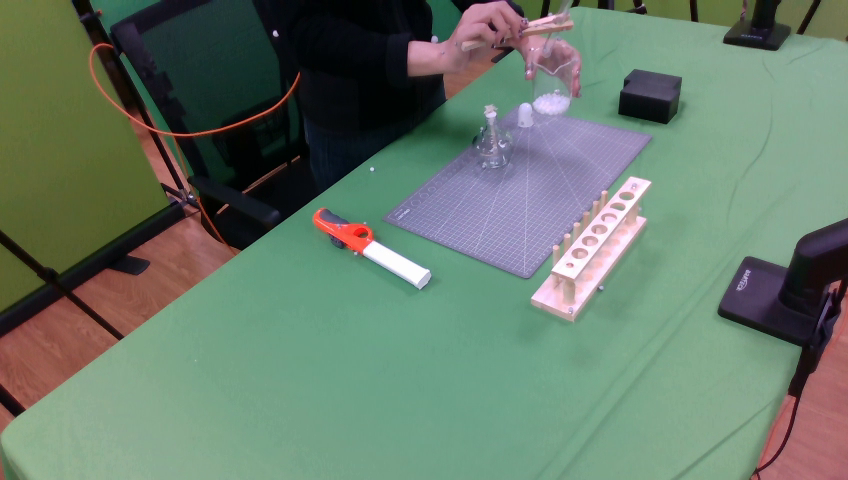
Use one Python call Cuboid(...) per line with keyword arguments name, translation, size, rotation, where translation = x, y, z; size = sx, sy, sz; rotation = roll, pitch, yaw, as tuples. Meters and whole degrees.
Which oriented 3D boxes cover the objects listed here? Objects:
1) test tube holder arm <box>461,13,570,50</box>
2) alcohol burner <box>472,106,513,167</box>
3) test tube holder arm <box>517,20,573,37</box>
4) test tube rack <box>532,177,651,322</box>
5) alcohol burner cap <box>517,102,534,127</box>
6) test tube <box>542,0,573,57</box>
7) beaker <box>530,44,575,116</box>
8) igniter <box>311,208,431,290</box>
Cuboid(name="test tube holder arm", translation=(0.136, -0.310, 0.896), size=(0.179, 0.015, 0.013), rotation=(-18, 74, -14))
Cuboid(name="alcohol burner", translation=(0.125, -0.194, 1.111), size=(0.078, 0.119, 0.077), rotation=(-5, 42, 5))
Cuboid(name="test tube holder arm", translation=(0.181, -0.316, 0.905), size=(0.088, 0.015, 0.010), rotation=(-10, 72, -12))
Cuboid(name="test tube rack", translation=(0.248, 0.002, 0.883), size=(0.066, 0.085, 0.243), rotation=(22, 49, 32))
Cuboid(name="alcohol burner cap", translation=(0.205, -0.255, 1.223), size=(0.034, 0.048, 0.033), rotation=(-6, 41, 6))
Cuboid(name="test tube", translation=(0.201, -0.325, 0.913), size=(0.017, 0.150, 0.017), rotation=(1, 72, -2))
Cuboid(name="beaker", translation=(0.217, -0.267, 1.025), size=(0.074, 0.101, 0.083), rotation=(0, 46, 10))
Cuboid(name="igniter", translation=(-0.096, 0.008, 0.985), size=(0.274, 0.025, 0.057), rotation=(29, 63, 36))
